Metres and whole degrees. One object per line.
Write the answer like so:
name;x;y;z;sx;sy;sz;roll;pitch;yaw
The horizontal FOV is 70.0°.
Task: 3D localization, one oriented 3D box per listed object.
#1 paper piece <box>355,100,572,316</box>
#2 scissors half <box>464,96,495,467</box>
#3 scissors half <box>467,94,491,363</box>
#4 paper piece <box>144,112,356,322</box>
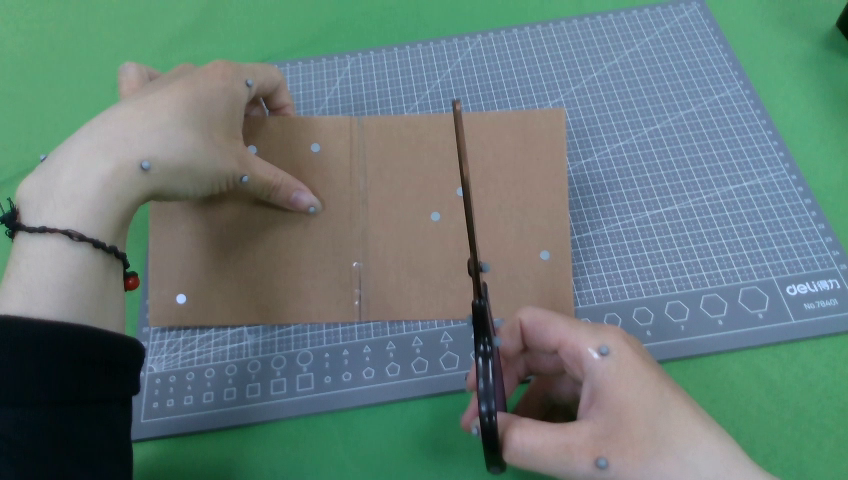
paper piece;0.023;-0.020;0.382;0.135;0.004;0.135;-1;84;5
scissors half;0.024;0.026;0.269;0.013;0.176;0.040;-4;16;2
scissors half;0.025;0.017;0.287;0.013;0.177;0.039;-1;32;7
paper piece;-0.111;-0.016;0.388;0.138;0.009;0.135;-1;81;2
